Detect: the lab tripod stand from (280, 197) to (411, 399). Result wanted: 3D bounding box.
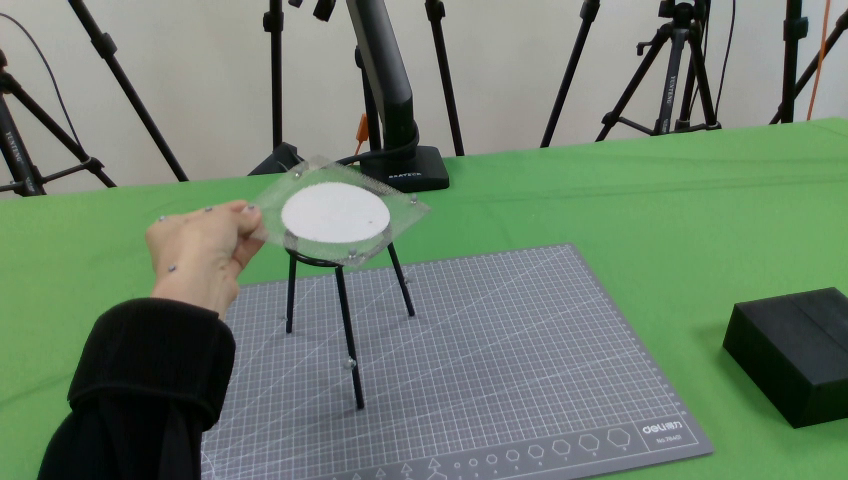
[{"bbox_3d":[-0.069,0.042,0.532,0.148,0.132,0.147,0,35,0],"label":"lab tripod stand"}]

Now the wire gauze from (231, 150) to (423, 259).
[{"bbox_3d":[-0.067,-0.035,0.470,0.125,0.011,0.120,16,31,-3],"label":"wire gauze"}]
